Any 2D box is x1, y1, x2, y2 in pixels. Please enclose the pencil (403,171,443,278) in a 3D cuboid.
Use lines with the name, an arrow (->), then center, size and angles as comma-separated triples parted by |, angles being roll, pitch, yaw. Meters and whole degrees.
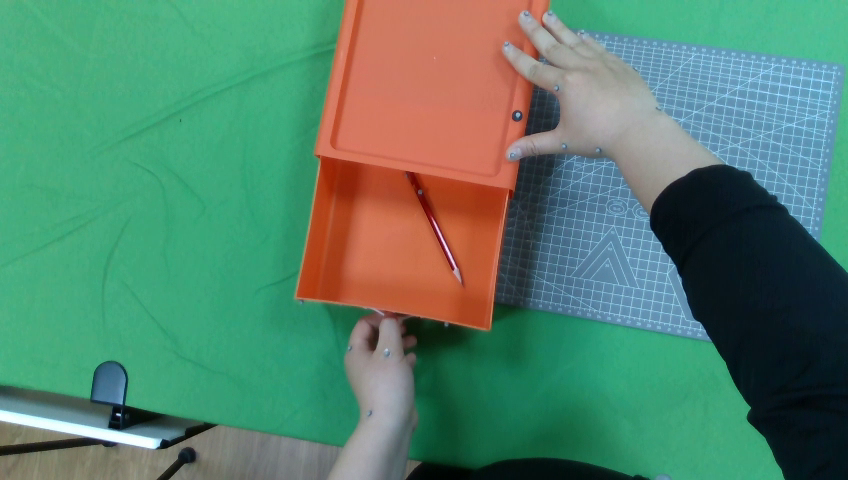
pencil -> -0.009, -0.043, 0.640 | 0.012, 0.012, 0.194 | -19, 90, 5

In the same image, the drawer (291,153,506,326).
drawer -> -0.018, -0.029, 0.613 | 0.194, 0.073, 0.211 | 8, 87, 7

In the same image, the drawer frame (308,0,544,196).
drawer frame -> 0.006, -0.165, 0.616 | 0.201, 0.083, 0.213 | 10, 87, 7
